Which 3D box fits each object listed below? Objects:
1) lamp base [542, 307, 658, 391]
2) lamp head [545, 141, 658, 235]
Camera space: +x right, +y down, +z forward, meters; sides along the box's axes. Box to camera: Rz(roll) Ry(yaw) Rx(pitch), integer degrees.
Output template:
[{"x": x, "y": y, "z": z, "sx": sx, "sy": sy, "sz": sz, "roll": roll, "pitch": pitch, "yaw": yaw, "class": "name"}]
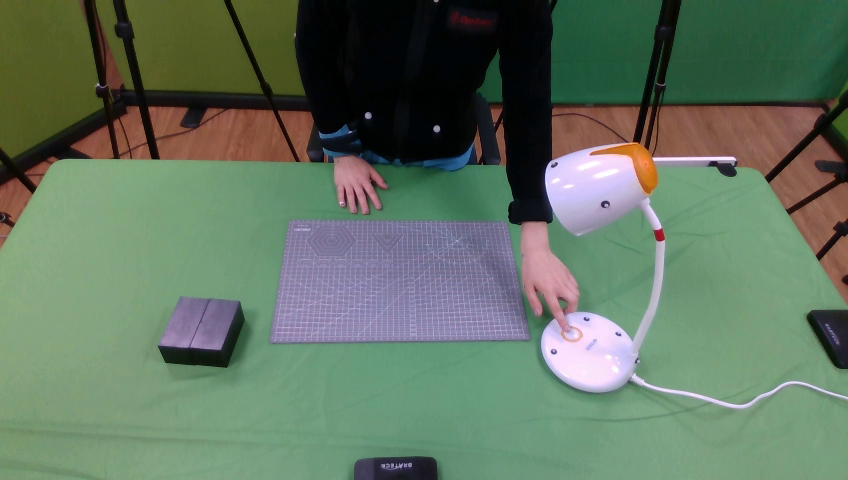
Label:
[{"x": 0.296, "y": 0.138, "z": 0.975, "sx": 0.178, "sy": 0.181, "sz": 0.160, "roll": 28, "pitch": 51, "yaw": 18, "class": "lamp base"}, {"x": 0.237, "y": -0.072, "z": 0.783, "sx": 0.123, "sy": 0.113, "sz": 0.112, "roll": -16, "pitch": 33, "yaw": 37, "class": "lamp head"}]
